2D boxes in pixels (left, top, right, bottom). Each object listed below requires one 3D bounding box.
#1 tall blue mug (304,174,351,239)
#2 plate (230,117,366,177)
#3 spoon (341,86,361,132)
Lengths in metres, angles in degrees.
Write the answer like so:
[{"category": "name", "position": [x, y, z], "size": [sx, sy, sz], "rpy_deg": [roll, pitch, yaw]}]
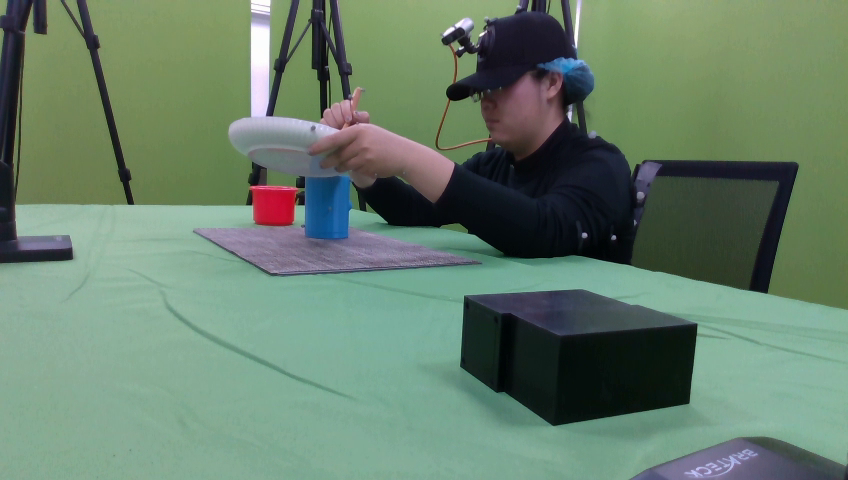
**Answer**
[{"category": "tall blue mug", "position": [-0.178, -0.062, 1.062], "size": [0.078, 0.108, 0.106], "rpy_deg": [-5, 10, -38]}, {"category": "plate", "position": [-0.195, -0.135, 0.939], "size": [0.208, 0.039, 0.207], "rpy_deg": [5, -9, 1]}, {"category": "spoon", "position": [-0.140, -0.207, 1.076], "size": [0.041, 0.022, 0.193], "rpy_deg": [2, 51, 14]}]
